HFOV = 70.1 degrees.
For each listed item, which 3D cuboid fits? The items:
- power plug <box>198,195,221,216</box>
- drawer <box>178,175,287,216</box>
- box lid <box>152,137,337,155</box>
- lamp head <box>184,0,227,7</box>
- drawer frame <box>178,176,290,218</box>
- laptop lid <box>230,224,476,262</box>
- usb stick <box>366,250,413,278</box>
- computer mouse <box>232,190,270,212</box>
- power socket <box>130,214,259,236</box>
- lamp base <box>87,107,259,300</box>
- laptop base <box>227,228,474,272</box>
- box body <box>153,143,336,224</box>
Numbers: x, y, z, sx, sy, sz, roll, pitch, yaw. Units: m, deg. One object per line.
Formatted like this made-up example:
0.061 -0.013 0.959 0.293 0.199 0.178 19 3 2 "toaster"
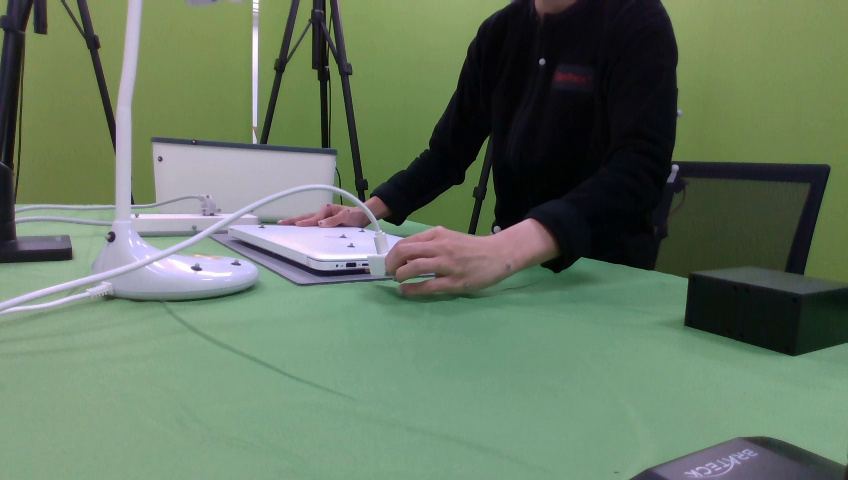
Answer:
-0.386 -0.055 1.088 0.035 0.052 0.072 -2 6 -24 "power plug"
-0.414 -0.104 1.341 0.212 0.073 0.194 5 6 -11 "drawer"
-0.379 -0.203 1.334 0.372 0.015 0.262 2 7 -9 "box lid"
-0.229 -0.320 0.627 0.112 0.112 0.123 6 -36 26 "lamp head"
-0.409 -0.099 1.340 0.214 0.082 0.201 -4 7 -10 "drawer frame"
-0.119 0.001 0.889 0.243 0.013 0.355 1 7 -33 "laptop lid"
-0.041 0.026 0.649 0.059 0.027 0.021 -7 14 44 "usb stick"
-0.382 -0.086 1.342 0.063 0.041 0.117 10 10 -4 "computer mouse"
-0.397 -0.028 1.048 0.228 0.032 0.072 -3 7 -35 "power socket"
-0.254 -0.039 0.603 0.160 0.180 0.179 5 10 18 "lamp base"
-0.122 0.012 0.889 0.237 0.023 0.352 2 6 -35 "laptop base"
-0.380 -0.130 1.344 0.365 0.160 0.253 1 7 -9 "box body"
